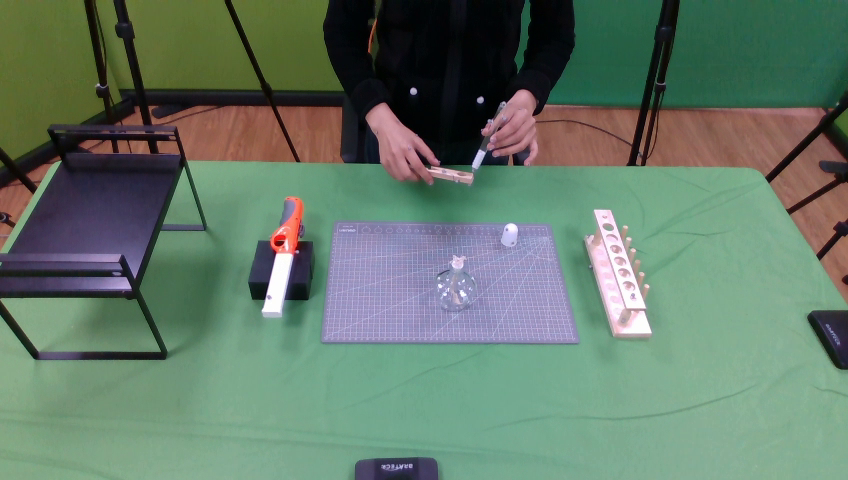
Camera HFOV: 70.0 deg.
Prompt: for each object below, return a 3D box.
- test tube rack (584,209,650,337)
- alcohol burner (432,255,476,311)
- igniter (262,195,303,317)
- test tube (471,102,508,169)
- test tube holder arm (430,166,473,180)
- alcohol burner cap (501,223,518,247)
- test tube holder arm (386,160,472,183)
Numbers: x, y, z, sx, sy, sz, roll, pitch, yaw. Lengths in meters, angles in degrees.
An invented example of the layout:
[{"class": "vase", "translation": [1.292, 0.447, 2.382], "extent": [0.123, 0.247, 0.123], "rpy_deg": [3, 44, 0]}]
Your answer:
[{"class": "test tube rack", "translation": [0.365, 0.056, 1.129], "extent": [0.067, 0.085, 0.240], "rpy_deg": [1, 46, -3]}, {"class": "alcohol burner", "translation": [0.055, 0.070, 1.068], "extent": [0.078, 0.119, 0.077], "rpy_deg": [3, 45, -3]}, {"class": "igniter", "translation": [-0.253, 0.020, 1.090], "extent": [0.057, 0.025, 0.275], "rpy_deg": [0, 49, -1]}, {"class": "test tube", "translation": [0.113, -0.181, 1.072], "extent": [0.017, 0.151, 0.017], "rpy_deg": [11, 47, -12]}, {"class": "test tube holder arm", "translation": [0.051, -0.128, 1.160], "extent": [0.087, 0.015, 0.010], "rpy_deg": [12, 48, 18]}, {"class": "alcohol burner cap", "translation": [0.172, -0.013, 1.206], "extent": [0.034, 0.048, 0.033], "rpy_deg": [1, 46, -1]}, {"class": "test tube holder arm", "translation": [0.007, -0.133, 1.170], "extent": [0.178, 0.015, 0.013], "rpy_deg": [12, 48, 17]}]
